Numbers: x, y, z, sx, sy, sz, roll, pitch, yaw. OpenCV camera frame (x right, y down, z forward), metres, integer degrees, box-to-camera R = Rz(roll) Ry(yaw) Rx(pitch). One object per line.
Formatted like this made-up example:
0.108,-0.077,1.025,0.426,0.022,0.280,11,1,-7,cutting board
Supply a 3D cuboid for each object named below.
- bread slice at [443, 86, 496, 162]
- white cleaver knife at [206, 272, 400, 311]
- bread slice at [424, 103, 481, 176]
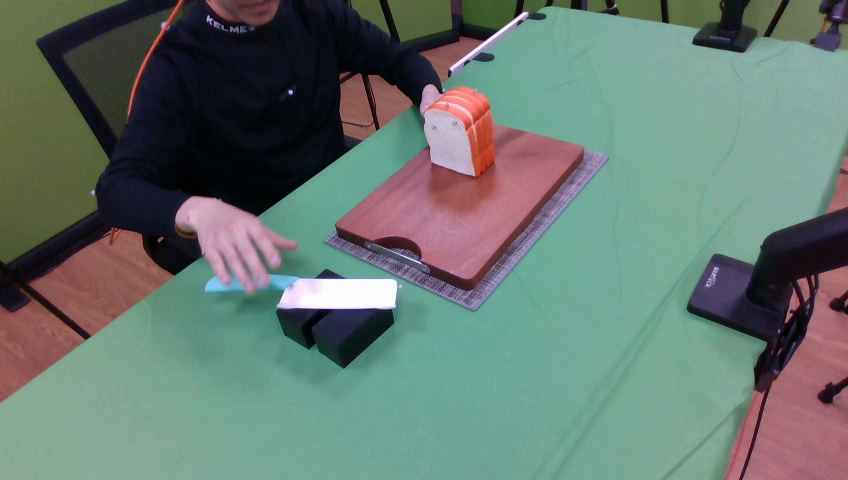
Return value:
0.078,-0.204,1.067,0.106,0.135,0.018,25,50,29,bread slice
-0.173,0.071,0.846,0.286,0.021,0.065,0,39,11,white cleaver knife
0.044,-0.174,1.038,0.104,0.132,0.019,21,54,32,bread slice
